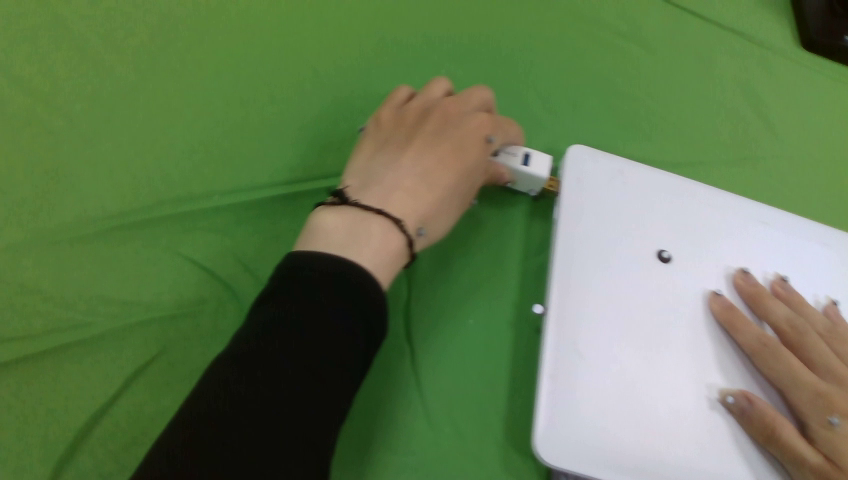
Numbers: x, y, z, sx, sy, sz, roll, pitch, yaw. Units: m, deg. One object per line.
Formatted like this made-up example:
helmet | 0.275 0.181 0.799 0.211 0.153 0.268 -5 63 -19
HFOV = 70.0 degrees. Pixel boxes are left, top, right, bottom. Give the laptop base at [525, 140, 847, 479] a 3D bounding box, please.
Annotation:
laptop base | 0.245 0.075 0.413 0.355 0.023 0.234 17 61 -5

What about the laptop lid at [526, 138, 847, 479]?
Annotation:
laptop lid | 0.246 0.071 0.402 0.357 0.013 0.240 19 60 -4

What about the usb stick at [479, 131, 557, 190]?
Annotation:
usb stick | 0.070 -0.053 0.424 0.059 0.027 0.021 20 60 -10
